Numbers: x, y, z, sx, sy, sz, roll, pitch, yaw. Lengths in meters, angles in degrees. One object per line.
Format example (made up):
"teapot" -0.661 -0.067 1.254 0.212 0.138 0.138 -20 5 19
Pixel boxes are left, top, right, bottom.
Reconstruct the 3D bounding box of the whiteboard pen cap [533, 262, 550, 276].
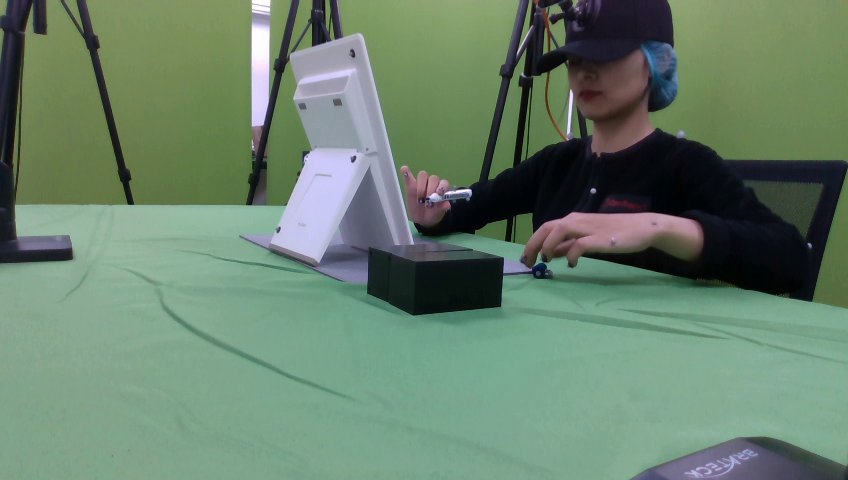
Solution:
"whiteboard pen cap" 0.152 0.037 0.778 0.018 0.018 0.033 5 5 23

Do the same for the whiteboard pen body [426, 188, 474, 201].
"whiteboard pen body" 0.043 -0.075 0.993 0.017 0.017 0.141 6 11 33

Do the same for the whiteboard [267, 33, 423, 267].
"whiteboard" -0.153 -0.098 0.819 0.144 0.305 0.216 -25 21 -29
